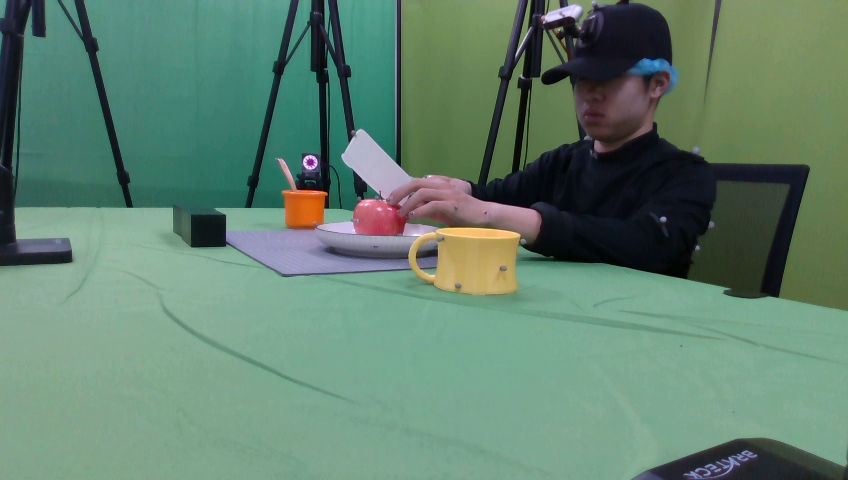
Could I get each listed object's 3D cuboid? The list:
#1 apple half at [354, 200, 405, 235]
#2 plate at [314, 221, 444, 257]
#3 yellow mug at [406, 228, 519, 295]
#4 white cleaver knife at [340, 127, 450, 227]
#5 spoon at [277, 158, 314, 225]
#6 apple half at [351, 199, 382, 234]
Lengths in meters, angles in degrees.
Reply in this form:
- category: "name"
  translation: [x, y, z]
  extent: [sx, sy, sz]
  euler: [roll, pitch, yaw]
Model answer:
- category: "apple half"
  translation: [-0.060, -0.023, 0.912]
  extent: [0.053, 0.074, 0.081]
  euler: [14, 8, 41]
- category: "plate"
  translation: [-0.066, -0.002, 0.948]
  extent: [0.209, 0.038, 0.209]
  euler: [3, 7, 0]
- category: "yellow mug"
  translation: [0.044, 0.022, 0.707]
  extent: [0.131, 0.064, 0.100]
  euler: [2, 7, 5]
- category: "white cleaver knife"
  translation: [-0.040, -0.082, 0.960]
  extent: [0.021, 0.066, 0.288]
  euler: [19, -12, 39]
- category: "spoon"
  translation: [-0.272, -0.103, 1.260]
  extent: [0.042, 0.193, 0.021]
  euler: [-6, -33, -32]
- category: "apple half"
  translation: [-0.089, -0.029, 0.938]
  extent: [0.032, 0.081, 0.082]
  euler: [17, 15, 41]
